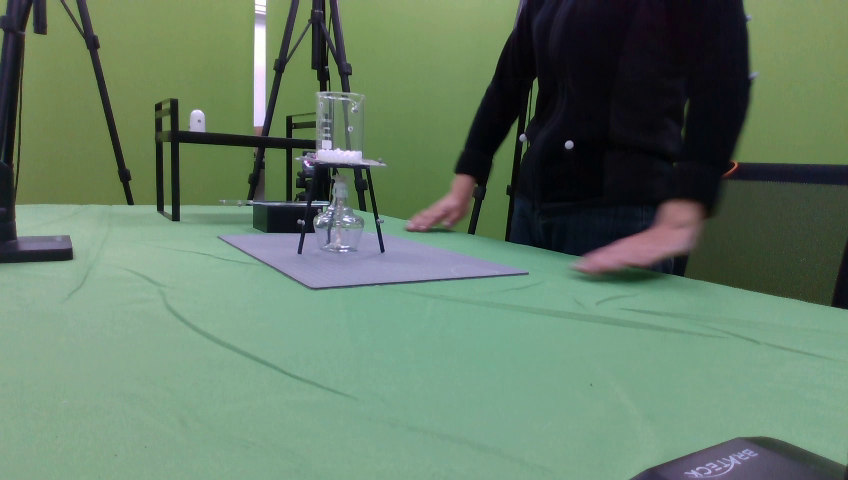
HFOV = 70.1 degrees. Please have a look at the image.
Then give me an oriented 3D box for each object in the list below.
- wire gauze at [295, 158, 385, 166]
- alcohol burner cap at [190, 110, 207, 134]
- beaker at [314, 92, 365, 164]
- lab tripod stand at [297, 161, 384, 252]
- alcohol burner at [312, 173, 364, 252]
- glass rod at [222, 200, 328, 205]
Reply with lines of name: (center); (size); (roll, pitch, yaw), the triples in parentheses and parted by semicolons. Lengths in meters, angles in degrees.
wire gauze: (-0.128, -0.117, 0.901); (0.125, 0.011, 0.121); (-2, 8, -14)
alcohol burner cap: (-0.464, -0.242, 1.240); (0.034, 0.048, 0.034); (2, 7, 0)
beaker: (-0.123, -0.164, 0.893); (0.073, 0.100, 0.084); (7, 9, 31)
lab tripod stand: (-0.130, -0.051, 0.903); (0.148, 0.131, 0.148); (3, 9, 0)
alcohol burner: (-0.129, -0.042, 0.910); (0.078, 0.119, 0.078); (4, 9, 0)
glass rod: (-0.276, -0.071, 1.140); (0.201, 0.008, 0.008); (-1, 8, -27)
